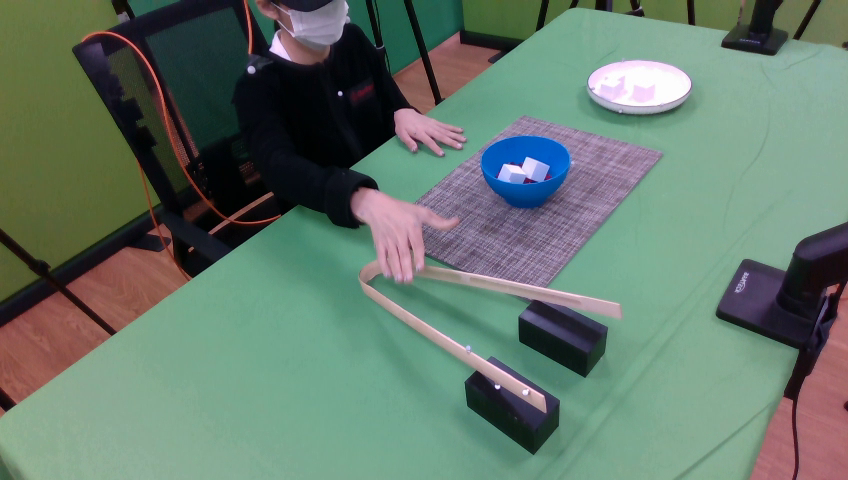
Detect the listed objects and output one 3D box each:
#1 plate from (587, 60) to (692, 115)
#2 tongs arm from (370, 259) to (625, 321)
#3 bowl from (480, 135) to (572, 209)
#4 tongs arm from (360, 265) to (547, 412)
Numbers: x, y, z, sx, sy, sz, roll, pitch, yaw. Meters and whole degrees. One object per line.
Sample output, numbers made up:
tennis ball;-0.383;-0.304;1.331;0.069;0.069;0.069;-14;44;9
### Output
plate;0.445;-0.313;1.263;0.209;0.038;0.208;-5;40;4
tongs arm;0.082;0.065;0.830;0.384;0.028;0.028;9;44;35
bowl;0.172;-0.106;1.025;0.151;0.077;0.150;-4;40;4
tongs arm;0.023;0.111;0.783;0.051;0.026;0.381;-36;36;-26
